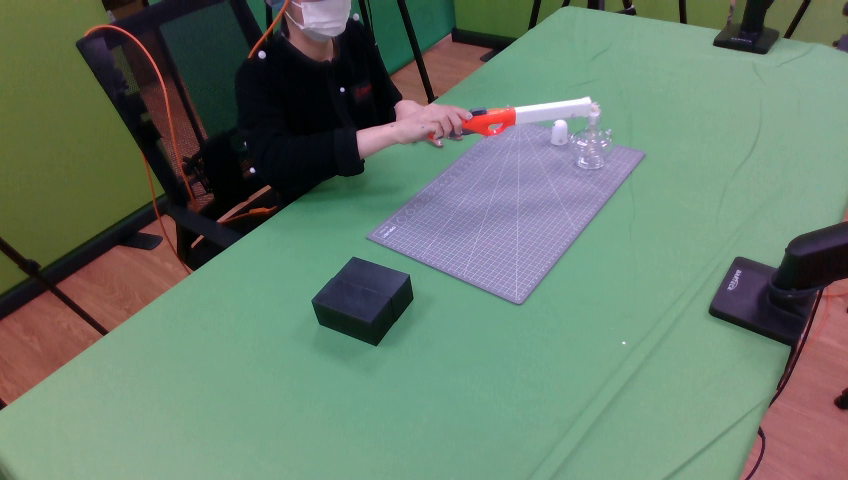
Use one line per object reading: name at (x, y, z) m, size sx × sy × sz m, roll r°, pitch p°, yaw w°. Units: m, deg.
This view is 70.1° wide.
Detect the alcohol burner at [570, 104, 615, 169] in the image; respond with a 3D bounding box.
alcohol burner at (0.299, -0.186, 1.071) m, size 0.078 × 0.119 × 0.077 m, roll -6°, pitch 41°, yaw 6°

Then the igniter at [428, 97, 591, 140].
igniter at (0.142, -0.206, 1.019) m, size 0.277 × 0.057 × 0.025 m, roll -9°, pitch 47°, yaw -2°

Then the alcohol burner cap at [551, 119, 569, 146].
alcohol burner cap at (0.261, -0.208, 1.156) m, size 0.034 × 0.048 × 0.033 m, roll -5°, pitch 41°, yaw 5°
